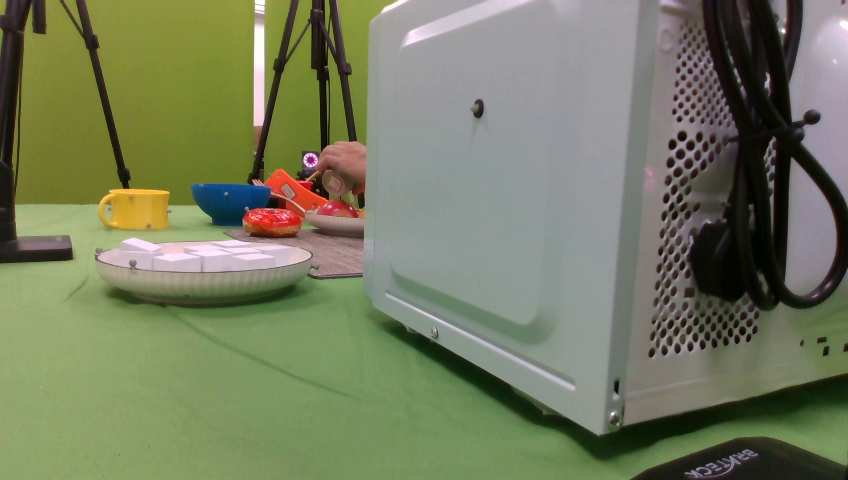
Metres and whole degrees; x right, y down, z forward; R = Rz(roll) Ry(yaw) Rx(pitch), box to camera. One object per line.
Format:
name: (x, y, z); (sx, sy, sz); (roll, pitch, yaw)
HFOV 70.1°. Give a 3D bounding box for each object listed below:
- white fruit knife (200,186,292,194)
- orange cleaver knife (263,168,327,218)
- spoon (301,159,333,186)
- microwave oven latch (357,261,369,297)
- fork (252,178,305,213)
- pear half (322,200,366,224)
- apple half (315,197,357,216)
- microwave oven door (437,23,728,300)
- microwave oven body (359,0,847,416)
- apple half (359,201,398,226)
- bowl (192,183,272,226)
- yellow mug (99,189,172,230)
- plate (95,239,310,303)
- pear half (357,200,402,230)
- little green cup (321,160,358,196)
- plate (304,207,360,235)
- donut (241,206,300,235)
white fruit knife: (-0.399, -0.111, 1.368); (0.208, 0.016, 0.027); (-4, -19, -30)
orange cleaver knife: (-0.262, -0.088, 1.353); (0.211, 0.077, 0.012); (28, 13, -1)
spoon: (-0.316, -0.158, 1.639); (0.194, 0.022, 0.041); (-49, 32, -20)
microwave oven latch: (-0.019, 0.033, 0.530); (0.079, 0.029, 0.030); (-1, 7, -26)
fork: (-0.295, -0.084, 1.292); (0.206, 0.018, 0.028); (29, 11, 25)
pear half: (-0.156, -0.059, 1.197); (0.088, 0.031, 0.070); (13, 31, -4)
apple half: (-0.161, -0.052, 1.121); (0.081, 0.053, 0.074); (5, 8, -14)
microwave oven door: (0.180, -0.072, 0.621); (0.358, 0.243, 0.039); (-2, 9, -29)
microwave oven body: (0.211, -0.047, 0.474); (0.444, 0.260, 0.324); (-1, 7, -28)
apple half: (-0.088, -0.059, 1.190); (0.081, 0.033, 0.081); (10, 29, -5)
bowl: (-0.381, -0.071, 1.202); (0.151, 0.077, 0.151); (3, 7, 0)
yellow mug: (-0.518, -0.055, 1.080); (0.099, 0.064, 0.131); (7, 10, 26)
plate: (-0.224, 0.031, 0.629); (0.208, 0.039, 0.207); (2, 7, 0)
pear half: (-0.075, -0.046, 1.133); (0.076, 0.056, 0.110); (13, 8, 31)
little green cup: (-0.158, -0.113, 1.119); (0.061, 0.061, 0.039); (6, 34, 28)
plate: (-0.123, -0.037, 1.148); (0.209, 0.038, 0.209); (2, 7, 0)
donut: (-0.263, -0.032, 1.039); (0.099, 0.048, 0.099); (4, 10, 0)
